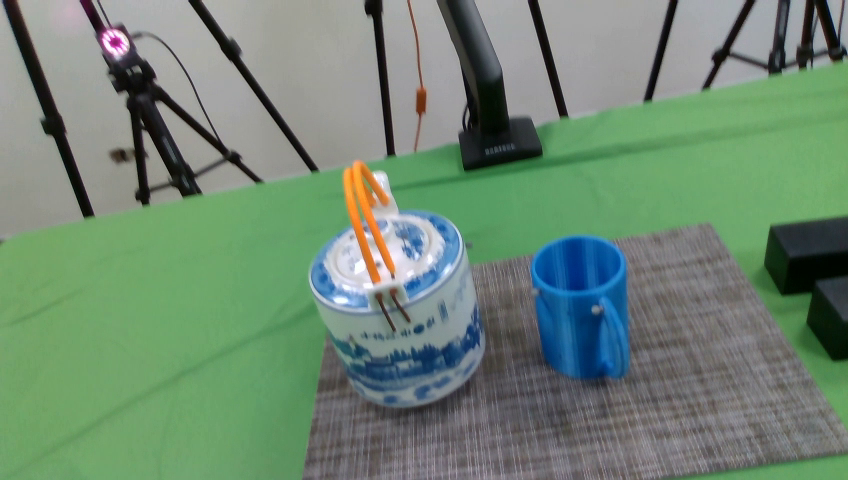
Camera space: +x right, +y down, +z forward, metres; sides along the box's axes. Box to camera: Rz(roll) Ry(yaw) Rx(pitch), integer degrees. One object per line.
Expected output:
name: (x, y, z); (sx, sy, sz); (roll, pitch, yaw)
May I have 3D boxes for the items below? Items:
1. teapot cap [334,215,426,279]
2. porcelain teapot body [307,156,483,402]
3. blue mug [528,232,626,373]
teapot cap: (-0.040, 0.002, 0.533); (0.085, 0.044, 0.084); (-8, 35, 6)
porcelain teapot body: (-0.035, 0.017, 0.579); (0.145, 0.227, 0.203); (-15, 36, 1)
blue mug: (0.148, 0.066, 0.549); (0.082, 0.107, 0.115); (-21, 37, -7)
